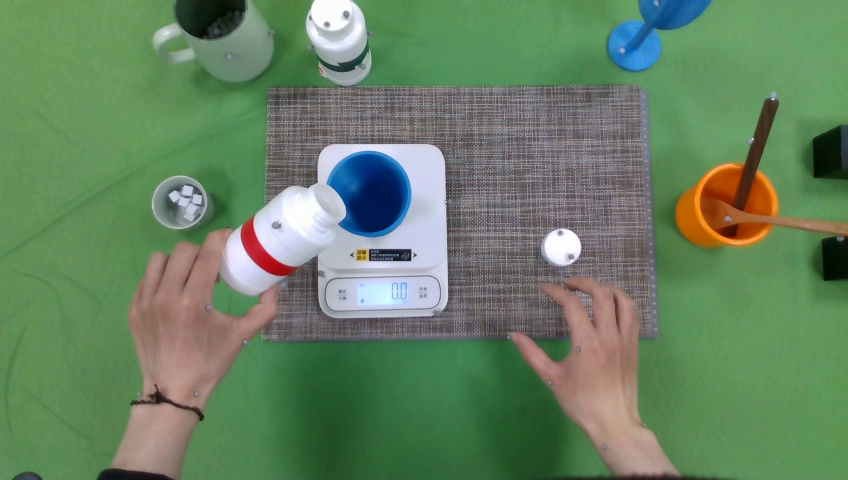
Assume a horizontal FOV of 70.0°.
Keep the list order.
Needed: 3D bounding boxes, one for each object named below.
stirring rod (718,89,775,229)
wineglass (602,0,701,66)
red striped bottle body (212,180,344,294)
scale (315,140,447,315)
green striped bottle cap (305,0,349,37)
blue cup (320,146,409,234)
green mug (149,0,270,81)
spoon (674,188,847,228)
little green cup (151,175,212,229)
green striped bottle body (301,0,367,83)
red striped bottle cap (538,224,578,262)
[{"bbox_3d":[0.345,-0.081,0.654,0.014,0.178,0.006,6,42,13],"label":"stirring rod"},{"bbox_3d":[0.251,-0.256,0.659,0.074,0.172,0.073,0,83,0],"label":"wineglass"},{"bbox_3d":[-0.127,-0.006,0.542,0.119,0.063,0.063,-34,84,24],"label":"red striped bottle body"},{"bbox_3d":[-0.050,-0.016,0.695,0.149,0.031,0.200,-2,84,-1],"label":"scale"},{"bbox_3d":[-0.100,-0.235,0.626,0.044,0.020,0.044,0,82,-1],"label":"green striped bottle cap"},{"bbox_3d":[-0.057,-0.044,0.633,0.093,0.100,0.092,0,85,-1],"label":"blue cup"},{"bbox_3d":[-0.245,-0.232,0.684,0.125,0.105,0.092,-23,84,-3],"label":"green mug"},{"bbox_3d":[0.365,-0.029,0.648,0.022,0.192,0.041,12,91,-43],"label":"spoon"},{"bbox_3d":[-0.275,-0.041,0.695,0.061,0.038,0.061,0,84,-2],"label":"little green cup"},{"bbox_3d":[-0.100,-0.227,0.678,0.063,0.119,0.063,0,83,0],"label":"green striped bottle body"},{"bbox_3d":[0.157,0.003,0.704,0.044,0.018,0.044,1,81,-5],"label":"red striped bottle cap"}]
